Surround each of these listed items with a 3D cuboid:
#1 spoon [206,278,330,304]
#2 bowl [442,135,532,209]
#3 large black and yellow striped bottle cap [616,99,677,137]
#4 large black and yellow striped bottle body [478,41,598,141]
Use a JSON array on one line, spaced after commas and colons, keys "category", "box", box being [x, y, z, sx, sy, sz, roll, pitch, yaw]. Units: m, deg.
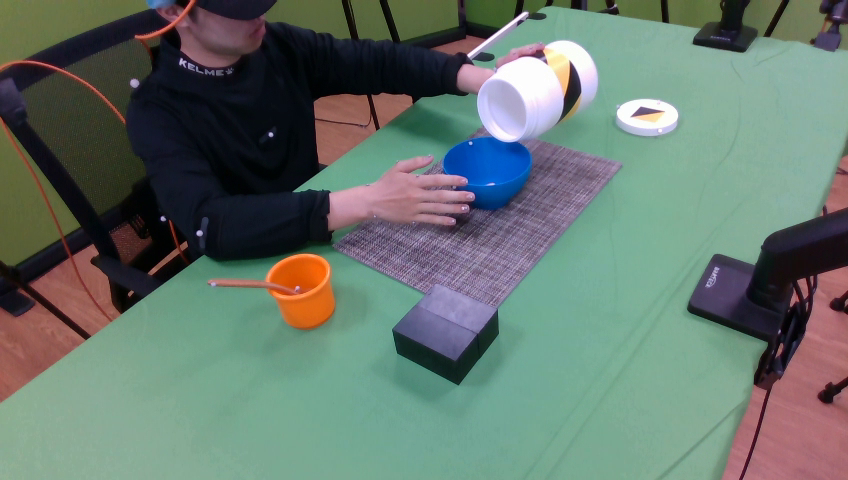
[{"category": "spoon", "box": [-0.207, 0.066, 0.824, 0.041, 0.195, 0.021, 33, 100, 41]}, {"category": "bowl", "box": [0.108, -0.105, 1.026, 0.151, 0.077, 0.150, -4, 41, 4]}, {"category": "large black and yellow striped bottle cap", "box": [0.438, -0.242, 1.190, 0.115, 0.019, 0.114, -4, 42, 4]}, {"category": "large black and yellow striped bottle body", "box": [0.190, -0.250, 1.022, 0.185, 0.131, 0.129, -32, 46, -33]}]
